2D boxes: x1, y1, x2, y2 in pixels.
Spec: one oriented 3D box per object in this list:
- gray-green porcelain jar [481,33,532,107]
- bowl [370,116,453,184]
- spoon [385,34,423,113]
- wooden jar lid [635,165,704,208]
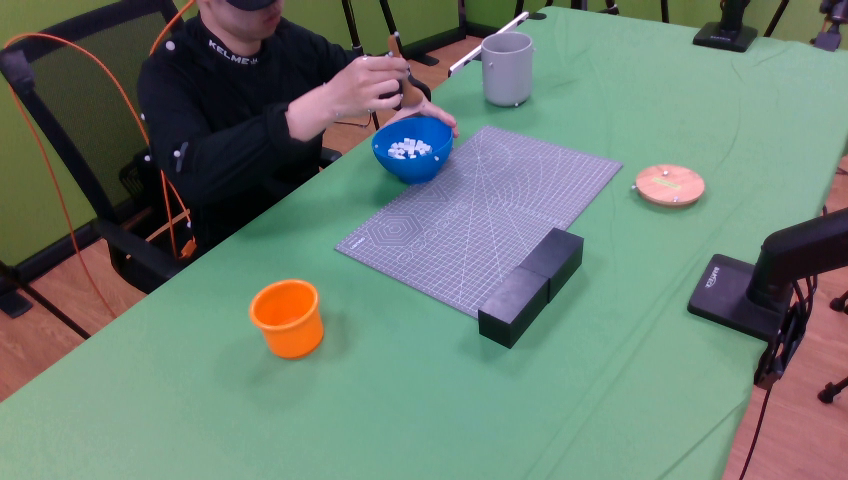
[{"bbox_3d":[0.175,-0.355,1.278,0.106,0.127,0.105,-4,41,4],"label":"gray-green porcelain jar"},{"bbox_3d":[-0.018,-0.155,1.106,0.151,0.077,0.150,-6,39,5],"label":"bowl"},{"bbox_3d":[-0.036,-0.257,0.954,0.041,0.195,0.021,-25,62,1],"label":"spoon"},{"bbox_3d":[0.410,-0.089,1.014,0.108,0.021,0.108,-5,42,5],"label":"wooden jar lid"}]
